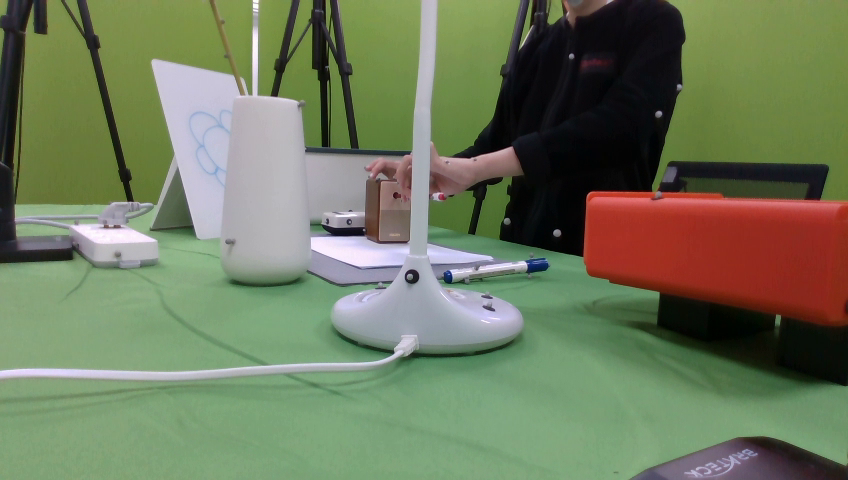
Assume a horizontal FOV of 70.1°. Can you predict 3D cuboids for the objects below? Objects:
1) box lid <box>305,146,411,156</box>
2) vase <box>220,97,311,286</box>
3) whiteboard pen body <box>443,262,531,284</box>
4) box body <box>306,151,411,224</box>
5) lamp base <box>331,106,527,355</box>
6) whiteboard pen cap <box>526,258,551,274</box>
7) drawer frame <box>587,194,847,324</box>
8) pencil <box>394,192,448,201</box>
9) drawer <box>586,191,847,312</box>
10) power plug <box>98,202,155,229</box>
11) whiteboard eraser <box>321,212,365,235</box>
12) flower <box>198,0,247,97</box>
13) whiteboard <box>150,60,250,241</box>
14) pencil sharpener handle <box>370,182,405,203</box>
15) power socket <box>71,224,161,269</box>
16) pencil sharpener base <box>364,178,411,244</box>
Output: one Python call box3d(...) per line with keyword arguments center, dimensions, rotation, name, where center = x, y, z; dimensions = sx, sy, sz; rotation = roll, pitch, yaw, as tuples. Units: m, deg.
box3d(center=(-0.229, -0.200, 1.361), dimensions=(0.373, 0.015, 0.262), rotation=(-3, 9, -33), name="box lid")
box3d(center=(-0.172, -0.052, 0.662), dimensions=(0.098, 0.200, 0.098), rotation=(3, 9, 0), name="vase")
box3d(center=(0.088, 0.038, 0.733), dimensions=(0.141, 0.017, 0.017), rotation=(-5, 10, -27), name="whiteboard pen body")
box3d(center=(-0.230, -0.126, 1.371), dimensions=(0.366, 0.160, 0.253), rotation=(-2, 8, -33), name="box body")
box3d(center=(0.006, -0.012, 0.478), dimensions=(0.161, 0.180, 0.179), rotation=(2, 10, 2), name="lamp base")
box3d(center=(0.141, 0.033, 0.759), dimensions=(0.033, 0.018, 0.018), rotation=(-8, 11, -26), name="whiteboard pen cap")
box3d(center=(0.285, 0.004, 0.508), dimensions=(0.203, 0.082, 0.212), rotation=(-1, 6, -29), name="drawer frame")
box3d(center=(-0.014, -0.067, 0.932), dimensions=(0.012, 0.012, 0.193), rotation=(-1, 4, -27), name="pencil")
box3d(center=(0.281, 0.001, 0.513), dimensions=(0.195, 0.073, 0.210), rotation=(-1, 8, -29), name="drawer")
box3d(center=(-0.416, -0.027, 0.848), dimensions=(0.073, 0.052, 0.035), rotation=(0, 8, -28), name="power plug")
box3d(center=(-0.128, -0.031, 1.108), dimensions=(0.113, 0.042, 0.055), rotation=(-3, 8, -38), name="whiteboard eraser")
box3d(center=(-0.187, -0.133, 0.648), dimensions=(0.038, 0.362, 0.044), rotation=(0, 22, 43), name="flower")
box3d(center=(-0.408, -0.139, 1.093), dimensions=(0.143, 0.305, 0.218), rotation=(-15, -1, 26), name="whiteboard")
box3d(center=(-0.068, -0.085, 1.080), dimensions=(0.068, 0.036, 0.030), rotation=(-2, 8, -25), name="pencil sharpener handle")
box3d(center=(-0.408, 0.004, 0.793), dimensions=(0.072, 0.032, 0.225), rotation=(-2, 8, -38), name="power socket")
box3d(center=(-0.063, -0.051, 1.031), dimensions=(0.061, 0.107, 0.076), rotation=(-1, 8, -25), name="pencil sharpener base")
